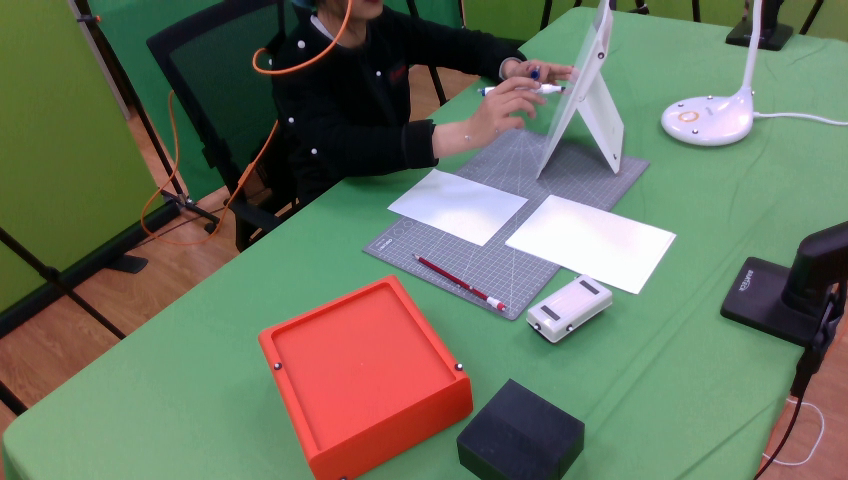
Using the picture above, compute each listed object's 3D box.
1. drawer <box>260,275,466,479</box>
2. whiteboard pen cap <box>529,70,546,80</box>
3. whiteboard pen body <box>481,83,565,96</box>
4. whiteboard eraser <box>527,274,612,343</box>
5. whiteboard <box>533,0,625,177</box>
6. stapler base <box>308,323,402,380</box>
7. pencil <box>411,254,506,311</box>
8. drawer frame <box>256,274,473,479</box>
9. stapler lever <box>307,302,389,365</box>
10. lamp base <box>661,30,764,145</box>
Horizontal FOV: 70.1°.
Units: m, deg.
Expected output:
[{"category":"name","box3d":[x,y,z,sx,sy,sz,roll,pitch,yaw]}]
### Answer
[{"category":"drawer","box3d":[-0.080,0.162,0.759,0.195,0.073,0.210,-22,42,-16]},{"category":"whiteboard pen cap","box3d":[0.221,-0.323,1.181,0.033,0.018,0.018,-4,32,-37]},{"category":"whiteboard pen body","box3d":[0.167,-0.254,1.020,0.140,0.017,0.017,1,41,13]},{"category":"whiteboard eraser","box3d":[0.198,0.094,0.820,0.113,0.042,0.055,-30,43,-22]},{"category":"whiteboard","box3d":[0.321,-0.258,1.049,0.144,0.306,0.217,21,45,4]},{"category":"stapler base","box3d":[-0.094,0.142,0.812,0.131,0.024,0.041,-25,29,-17]},{"category":"pencil","box3d":[0.047,0.060,0.906,0.012,0.012,0.192,-37,46,-29]},{"category":"drawer frame","box3d":[-0.078,0.163,0.756,0.202,0.083,0.211,-23,43,-17]},{"category":"stapler lever","box3d":[-0.101,0.121,0.799,0.118,0.040,0.026,-25,29,-17]},{"category":"lamp base","box3d":[0.535,-0.287,1.096,0.179,0.181,0.159,-10,40,-4]}]
